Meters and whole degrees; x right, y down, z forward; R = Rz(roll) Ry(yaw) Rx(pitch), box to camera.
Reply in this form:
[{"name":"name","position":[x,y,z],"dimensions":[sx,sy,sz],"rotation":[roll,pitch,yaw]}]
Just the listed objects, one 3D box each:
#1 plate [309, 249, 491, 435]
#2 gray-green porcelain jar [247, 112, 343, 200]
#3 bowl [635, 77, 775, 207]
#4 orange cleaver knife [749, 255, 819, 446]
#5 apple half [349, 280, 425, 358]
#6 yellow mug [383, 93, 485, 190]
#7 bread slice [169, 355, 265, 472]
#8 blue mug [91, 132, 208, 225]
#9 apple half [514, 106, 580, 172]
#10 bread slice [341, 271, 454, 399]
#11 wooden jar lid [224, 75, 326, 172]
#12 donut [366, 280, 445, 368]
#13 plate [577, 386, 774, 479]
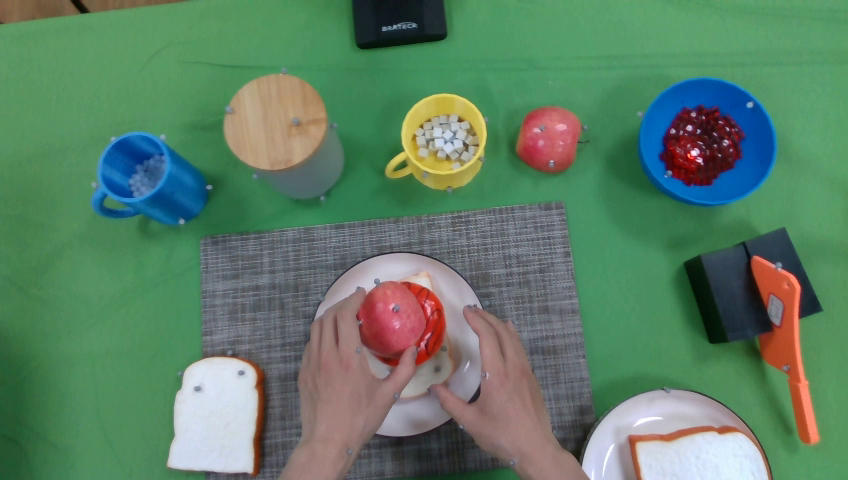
[{"name":"plate","position":[-0.027,0.115,0.698],"dimensions":[0.207,0.039,0.206],"rotation":[0,79,2]},{"name":"gray-green porcelain jar","position":[-0.154,-0.109,0.706],"dimensions":[0.106,0.127,0.105],"rotation":[0,78,2]},{"name":"bowl","position":[0.315,-0.104,0.710],"dimensions":[0.151,0.077,0.150],"rotation":[0,79,3]},{"name":"orange cleaver knife","position":[0.391,0.120,0.661],"dimensions":[0.012,0.077,0.212],"rotation":[-17,100,-8]},{"name":"apple half","position":[-0.038,0.083,0.621],"dimensions":[0.081,0.033,0.081],"rotation":[-1,85,6]},{"name":"yellow mug","position":[0.009,-0.109,0.730],"dimensions":[0.131,0.064,0.099],"rotation":[-29,79,-3]},{"name":"bread slice","position":[-0.238,0.199,0.701],"dimensions":[0.105,0.019,0.131],"rotation":[2,80,2]},{"name":"blue mug","position":[-0.329,-0.061,0.713],"dimensions":[0.116,0.106,0.082],"rotation":[-32,79,-4]},{"name":"apple half","position":[0.151,-0.128,0.735],"dimensions":[0.074,0.053,0.080],"rotation":[16,80,8]},{"name":"bread slice","position":[-0.023,0.113,0.698],"dimensions":[0.107,0.018,0.133],"rotation":[-22,80,-1]},{"name":"wooden jar lid","position":[-0.157,-0.122,0.645],"dimensions":[0.108,0.021,0.108],"rotation":[-1,77,3]},{"name":"donut","position":[-0.025,0.093,0.674],"dimensions":[0.099,0.048,0.098],"rotation":[0,79,2]},{"name":"plate","position":[0.269,0.265,0.660],"dimensions":[0.209,0.038,0.208],"rotation":[-1,79,3]}]
